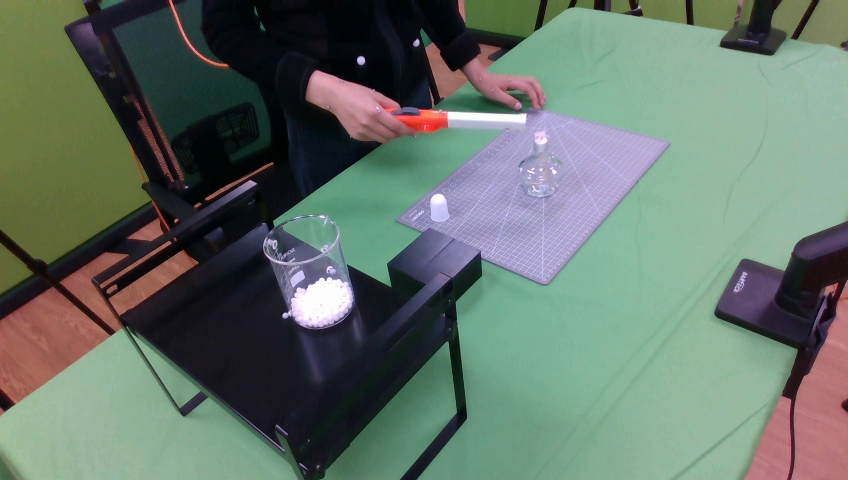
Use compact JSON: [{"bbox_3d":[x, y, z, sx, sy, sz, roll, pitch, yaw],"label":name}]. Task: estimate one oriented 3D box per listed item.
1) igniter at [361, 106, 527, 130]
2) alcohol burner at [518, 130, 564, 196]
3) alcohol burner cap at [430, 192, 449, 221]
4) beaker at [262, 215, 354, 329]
[{"bbox_3d":[0.030,-0.200,0.999,0.276,0.057,0.025,3,67,7],"label":"igniter"},{"bbox_3d":[0.199,-0.135,1.027,0.078,0.119,0.077,-5,42,5],"label":"alcohol burner"},{"bbox_3d":[0.025,-0.059,1.020,0.034,0.048,0.033,-4,41,4],"label":"alcohol burner cap"},{"bbox_3d":[-0.112,0.034,0.616,0.073,0.101,0.084,13,44,23],"label":"beaker"}]
